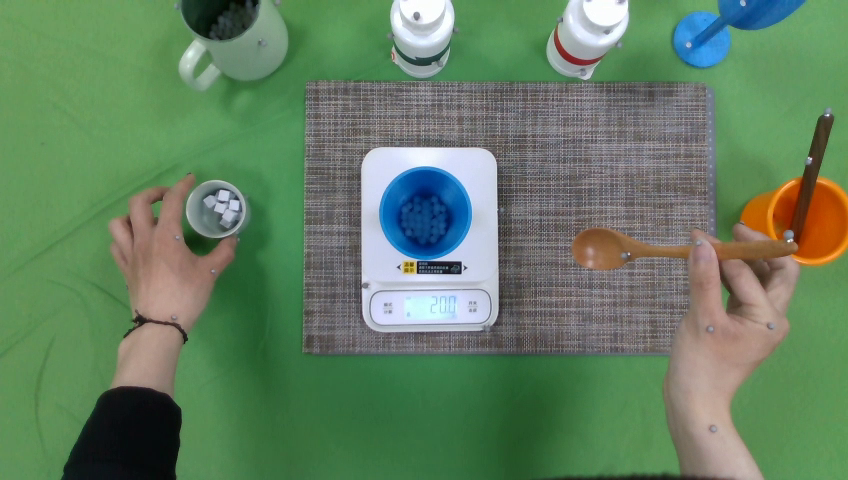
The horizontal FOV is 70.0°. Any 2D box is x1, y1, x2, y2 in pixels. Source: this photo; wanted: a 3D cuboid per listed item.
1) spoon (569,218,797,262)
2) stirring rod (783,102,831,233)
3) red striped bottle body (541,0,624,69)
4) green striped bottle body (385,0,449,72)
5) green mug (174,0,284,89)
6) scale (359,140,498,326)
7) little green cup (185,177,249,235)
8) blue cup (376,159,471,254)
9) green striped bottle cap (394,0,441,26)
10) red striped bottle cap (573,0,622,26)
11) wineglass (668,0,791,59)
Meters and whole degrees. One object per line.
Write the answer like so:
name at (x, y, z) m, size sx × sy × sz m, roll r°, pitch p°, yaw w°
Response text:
spoon at (0.193, 0.001, 0.483) m, size 0.022 × 0.192 × 0.042 m, roll -22°, pitch 102°, yaw -29°
stirring rod at (0.385, -0.061, 0.615) m, size 0.014 × 0.005 × 0.178 m, roll -14°, pitch 131°, yaw 0°
red striped bottle body at (0.164, -0.225, 0.624) m, size 0.063 × 0.119 × 0.063 m, roll 0°, pitch 88°, yaw -1°
green striped bottle body at (-0.007, -0.221, 0.621) m, size 0.063 × 0.119 × 0.063 m, roll 0°, pitch 88°, yaw -1°
green mug at (-0.208, -0.211, 0.624) m, size 0.092 × 0.105 × 0.125 m, roll 35°, pitch 88°, yaw 0°
scale at (0.005, -0.008, 0.655) m, size 0.149 × 0.031 × 0.200 m, roll -1°, pitch 89°, yaw -1°
little green cup at (-0.219, -0.035, 0.651) m, size 0.061 × 0.038 × 0.061 m, roll 0°, pitch 88°, yaw -2°
blue cup at (-0.001, -0.029, 0.590) m, size 0.093 × 0.100 × 0.092 m, roll 0°, pitch 90°, yaw -1°
green striped bottle cap at (-0.006, -0.224, 0.565) m, size 0.044 × 0.020 × 0.044 m, roll 0°, pitch 88°, yaw 1°
red striped bottle cap at (0.164, -0.226, 0.571) m, size 0.044 × 0.018 × 0.044 m, roll 0°, pitch 85°, yaw -1°
wineglass at (0.309, -0.241, 0.601) m, size 0.074 × 0.172 × 0.073 m, roll 0°, pitch 88°, yaw 0°
